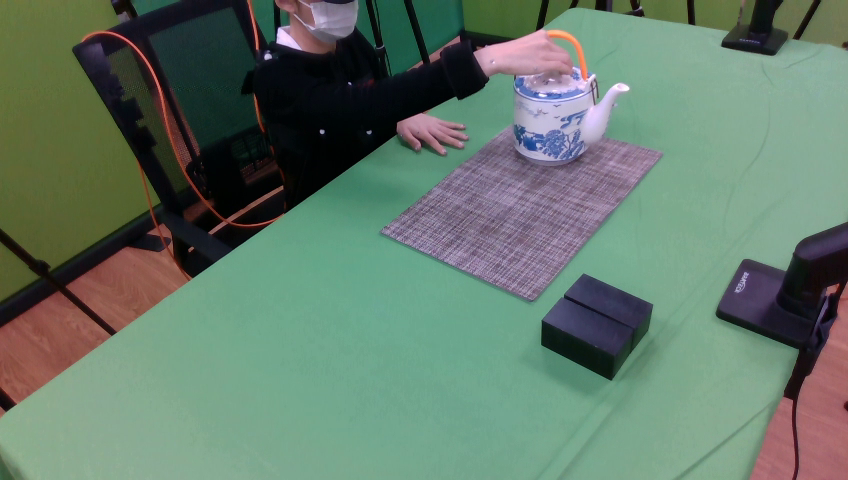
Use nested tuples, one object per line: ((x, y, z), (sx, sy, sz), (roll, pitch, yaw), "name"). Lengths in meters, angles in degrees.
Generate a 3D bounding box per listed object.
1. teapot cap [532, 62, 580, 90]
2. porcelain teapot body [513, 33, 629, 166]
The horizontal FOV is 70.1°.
((0.230, -0.286, 1.053), (0.085, 0.044, 0.085), (-5, 38, 4), "teapot cap")
((0.256, -0.247, 1.065), (0.204, 0.226, 0.145), (18, 47, 28), "porcelain teapot body")
